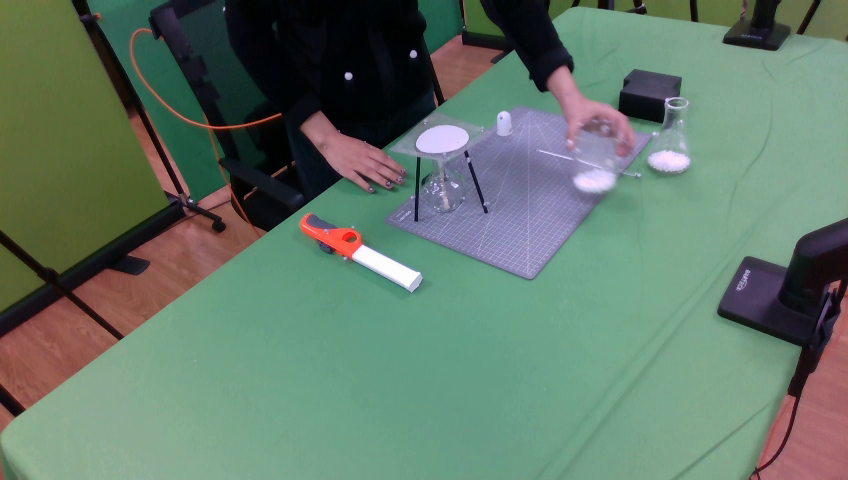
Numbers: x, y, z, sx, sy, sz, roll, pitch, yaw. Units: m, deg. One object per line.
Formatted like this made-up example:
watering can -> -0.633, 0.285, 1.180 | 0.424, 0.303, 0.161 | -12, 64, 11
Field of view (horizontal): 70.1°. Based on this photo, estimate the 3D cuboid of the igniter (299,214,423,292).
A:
igniter -> -0.112, 0.016, 0.983 | 0.274, 0.025, 0.057 | 26, 62, 35

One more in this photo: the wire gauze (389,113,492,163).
wire gauze -> 0.026, -0.164, 0.977 | 0.120, 0.011, 0.125 | 24, 49, 35

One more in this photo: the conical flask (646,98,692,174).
conical flask -> 0.426, -0.180, 1.037 | 0.075, 0.122, 0.075 | -5, 40, 5

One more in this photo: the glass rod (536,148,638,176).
glass rod -> 0.294, -0.145, 1.104 | 0.198, 0.008, 0.008 | 21, 49, 31

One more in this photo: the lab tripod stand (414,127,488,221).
lab tripod stand -> 0.035, -0.114, 1.021 | 0.148, 0.132, 0.147 | -7, 39, 6

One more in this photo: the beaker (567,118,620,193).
beaker -> 0.272, -0.132, 0.962 | 0.083, 0.101, 0.074 | 25, 48, 40

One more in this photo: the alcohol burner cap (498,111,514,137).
alcohol burner cap -> 0.163, -0.235, 1.211 | 0.034, 0.048, 0.033 | -6, 40, 6

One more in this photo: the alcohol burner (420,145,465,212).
alcohol burner -> 0.031, -0.108, 1.030 | 0.078, 0.119, 0.077 | -5, 38, 4
